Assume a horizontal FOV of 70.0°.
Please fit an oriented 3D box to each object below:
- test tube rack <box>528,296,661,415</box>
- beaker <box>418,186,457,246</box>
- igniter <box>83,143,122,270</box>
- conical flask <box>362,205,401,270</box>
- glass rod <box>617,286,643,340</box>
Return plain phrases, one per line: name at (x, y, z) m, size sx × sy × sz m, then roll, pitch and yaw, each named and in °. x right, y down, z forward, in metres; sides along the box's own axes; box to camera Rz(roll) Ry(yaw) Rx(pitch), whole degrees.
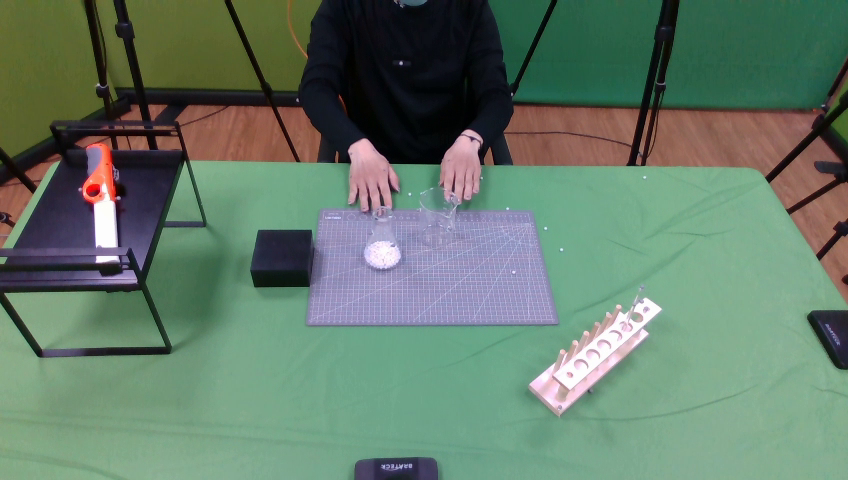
test tube rack at (0.285, 0.178, 1.005) m, size 0.242 × 0.085 × 0.066 m, roll -31°, pitch 55°, yaw -29°
beaker at (0.026, -0.042, 1.183) m, size 0.074 × 0.101 × 0.083 m, roll -19°, pitch 51°, yaw -20°
igniter at (-0.508, -0.063, 0.962) m, size 0.057 × 0.025 × 0.274 m, roll -14°, pitch 53°, yaw -18°
conical flask at (-0.078, -0.008, 1.127) m, size 0.075 × 0.122 × 0.075 m, roll 2°, pitch 46°, yaw -2°
glass rod at (0.324, 0.128, 0.964) m, size 0.008 × 0.201 × 0.008 m, roll -2°, pitch 54°, yaw 3°
